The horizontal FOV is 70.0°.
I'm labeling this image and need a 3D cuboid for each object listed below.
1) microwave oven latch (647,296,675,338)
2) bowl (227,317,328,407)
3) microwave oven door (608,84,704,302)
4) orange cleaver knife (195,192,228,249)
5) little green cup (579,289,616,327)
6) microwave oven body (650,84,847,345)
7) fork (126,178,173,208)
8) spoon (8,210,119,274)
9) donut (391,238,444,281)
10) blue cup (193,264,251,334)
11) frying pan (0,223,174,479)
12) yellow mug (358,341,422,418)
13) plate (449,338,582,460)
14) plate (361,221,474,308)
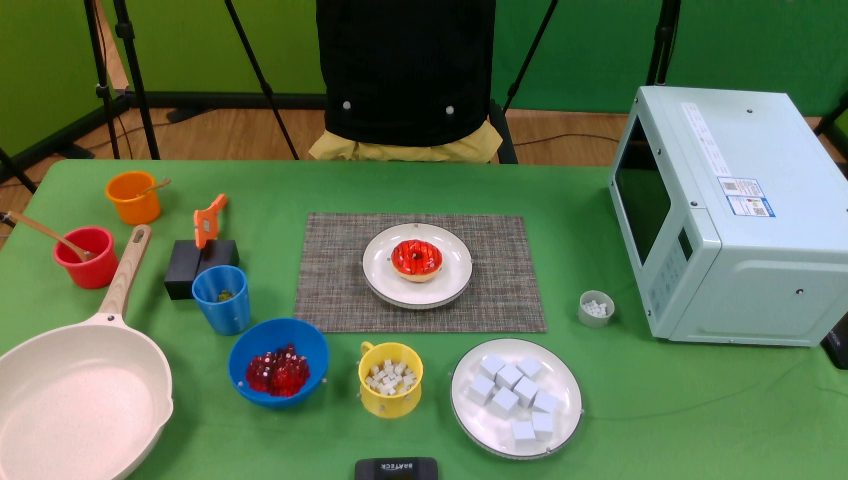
[{"bbox_3d":[0.413,0.133,1.060,0.030,0.029,0.078,5,46,1],"label":"microwave oven latch"},{"bbox_3d":[-0.222,0.203,0.947,0.151,0.077,0.150,2,46,-2],"label":"bowl"},{"bbox_3d":[0.424,-0.096,1.138,0.039,0.245,0.353,3,46,-1],"label":"microwave oven door"},{"bbox_3d":[-0.406,-0.042,1.163,0.012,0.077,0.210,0,18,-3],"label":"orange cleaver knife"},{"bbox_3d":[0.308,0.124,1.086,0.061,0.039,0.061,2,45,-2],"label":"little green cup"},{"bbox_3d":[0.568,-0.054,1.116,0.326,0.261,0.439,2,46,-1],"label":"microwave oven body"},{"bbox_3d":[-0.524,-0.089,1.154,0.207,0.019,0.028,-18,25,46],"label":"fork"},{"bbox_3d":[-0.629,0.002,1.062,0.195,0.021,0.041,40,38,-26],"label":"spoon"},{"bbox_3d":[-0.012,0.035,1.128,0.099,0.048,0.098,3,43,-3],"label":"donut"},{"bbox_3d":[-0.331,0.105,1.015,0.092,0.101,0.092,1,45,-1],"label":"blue cup"},{"bbox_3d":[-0.505,0.169,0.941,0.307,0.103,0.485,5,54,-1],"label":"frying pan"},{"bbox_3d":[-0.063,0.210,0.961,0.100,0.064,0.130,-29,54,-28],"label":"yellow mug"},{"bbox_3d":[0.141,0.251,0.955,0.208,0.039,0.206,2,47,-2],"label":"plate"},{"bbox_3d":[-0.011,0.049,1.130,0.209,0.038,0.208,2,46,-2],"label":"plate"}]
